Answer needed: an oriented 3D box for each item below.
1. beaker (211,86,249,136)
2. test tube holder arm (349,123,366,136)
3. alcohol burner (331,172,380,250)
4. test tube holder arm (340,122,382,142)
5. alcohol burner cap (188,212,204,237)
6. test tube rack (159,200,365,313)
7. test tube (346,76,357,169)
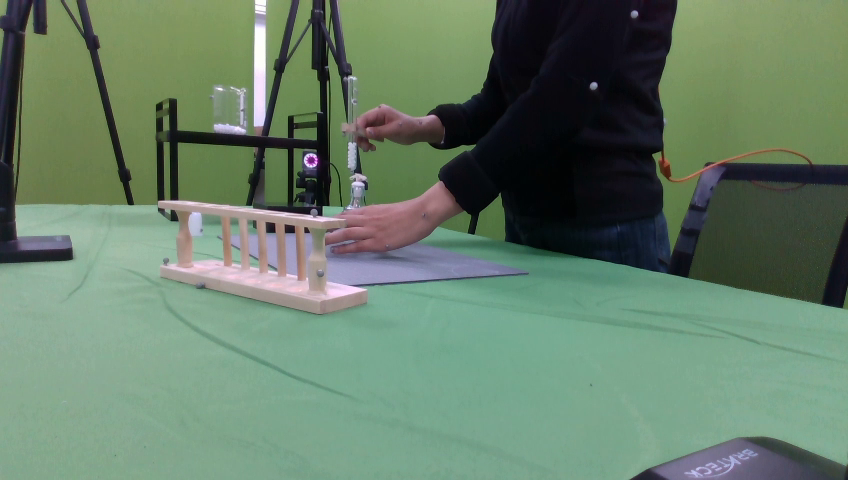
[{"bbox_3d":[-0.413,-0.274,1.297,0.074,0.100,0.083,-5,11,-44],"label":"beaker"},{"bbox_3d":[-0.110,-0.183,1.006,0.010,0.015,0.088,7,5,6],"label":"test tube holder arm"},{"bbox_3d":[-0.106,-0.045,0.930,0.078,0.119,0.078,2,5,0],"label":"alcohol burner"},{"bbox_3d":[-0.107,-0.187,1.052,0.013,0.015,0.179,8,5,13],"label":"test tube holder arm"},{"bbox_3d":[-0.390,-0.029,1.025,0.034,0.048,0.034,2,9,0],"label":"alcohol burner cap"},{"bbox_3d":[-0.173,0.009,0.624,0.241,0.085,0.067,7,9,34],"label":"test tube rack"},{"bbox_3d":[-0.118,-0.190,0.983,0.017,0.150,0.017,2,8,0],"label":"test tube"}]
